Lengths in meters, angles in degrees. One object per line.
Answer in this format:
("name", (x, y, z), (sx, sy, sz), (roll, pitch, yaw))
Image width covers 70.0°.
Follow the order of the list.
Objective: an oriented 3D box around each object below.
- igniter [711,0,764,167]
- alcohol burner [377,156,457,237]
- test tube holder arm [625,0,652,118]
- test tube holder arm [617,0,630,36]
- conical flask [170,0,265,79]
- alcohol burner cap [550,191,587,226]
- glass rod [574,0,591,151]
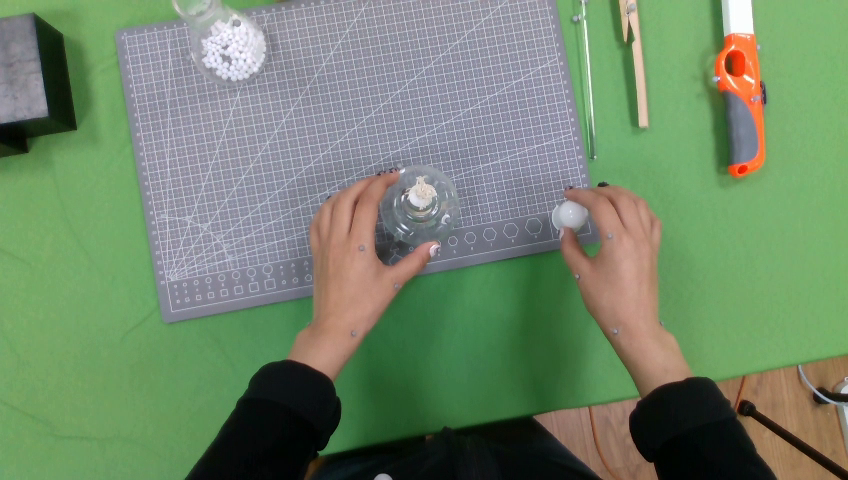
("igniter", (0.326, -0.214, 0.635), (0.057, 0.025, 0.276), (-2, 88, -13))
("alcohol burner", (-0.007, -0.043, 0.565), (0.078, 0.119, 0.078), (0, 87, -1))
("test tube holder arm", (0.219, -0.216, 0.632), (0.013, 0.015, 0.178), (-11, 88, 33))
("test tube holder arm", (0.207, -0.260, 0.636), (0.010, 0.015, 0.087), (-9, 89, 33))
("conical flask", (-0.194, -0.201, 0.555), (0.075, 0.122, 0.075), (0, 87, -3))
("alcohol burner cap", (0.143, -0.033, 0.592), (0.034, 0.048, 0.034), (0, 85, 2))
("glass rod", (0.165, -0.193, 0.634), (0.008, 0.008, 0.199), (-4, 90, -4))
